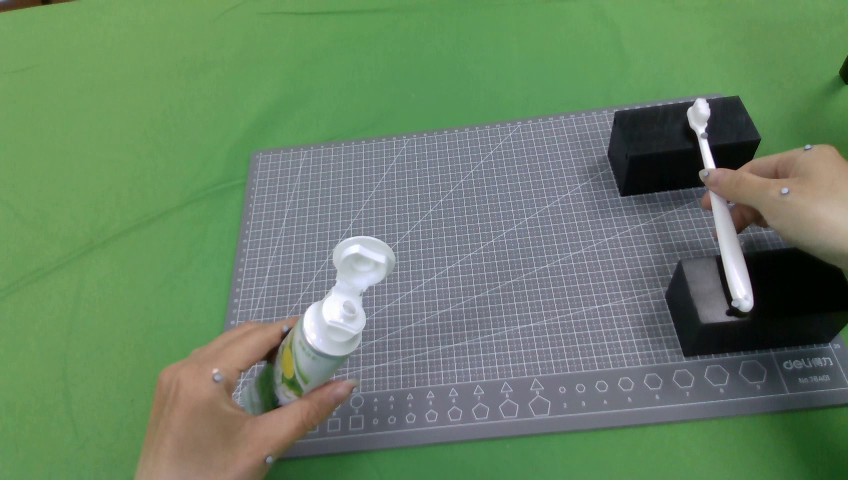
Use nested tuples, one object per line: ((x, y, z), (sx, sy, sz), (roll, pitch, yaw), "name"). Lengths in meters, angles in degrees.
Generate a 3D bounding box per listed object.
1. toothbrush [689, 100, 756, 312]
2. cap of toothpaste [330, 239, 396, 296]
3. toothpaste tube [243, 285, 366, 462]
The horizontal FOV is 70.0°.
((0.210, -0.032, 0.429), (0.014, 0.017, 0.180), (7, 57, -3), "toothbrush")
((-0.034, 0.015, 0.330), (0.037, 0.038, 0.011), (-6, 40, 5), "cap of toothpaste")
((-0.081, 0.081, 0.374), (0.035, 0.165, 0.054), (7, 49, -35), "toothpaste tube")
